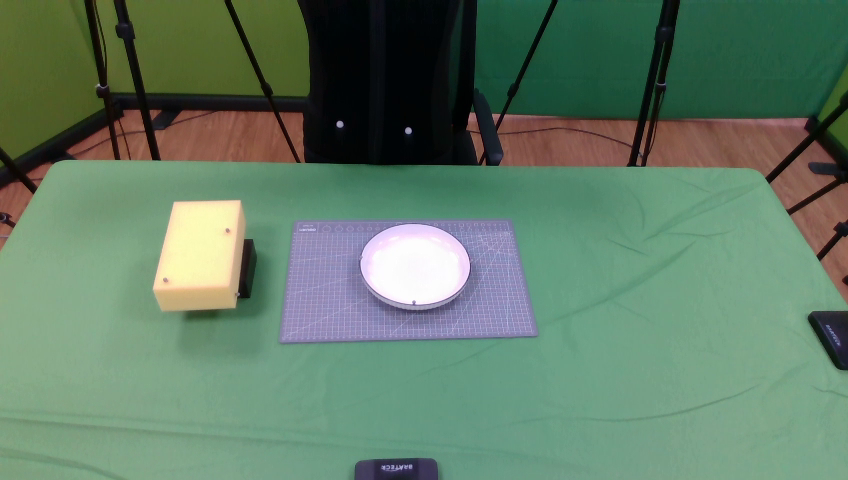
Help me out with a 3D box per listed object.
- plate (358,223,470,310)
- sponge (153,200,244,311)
[{"bbox_3d":[-0.019,0.052,1.132,0.209,0.038,0.208,2,46,-2],"label":"plate"},{"bbox_3d":[-0.384,0.022,1.051,0.118,0.061,0.205,-3,47,-7],"label":"sponge"}]
